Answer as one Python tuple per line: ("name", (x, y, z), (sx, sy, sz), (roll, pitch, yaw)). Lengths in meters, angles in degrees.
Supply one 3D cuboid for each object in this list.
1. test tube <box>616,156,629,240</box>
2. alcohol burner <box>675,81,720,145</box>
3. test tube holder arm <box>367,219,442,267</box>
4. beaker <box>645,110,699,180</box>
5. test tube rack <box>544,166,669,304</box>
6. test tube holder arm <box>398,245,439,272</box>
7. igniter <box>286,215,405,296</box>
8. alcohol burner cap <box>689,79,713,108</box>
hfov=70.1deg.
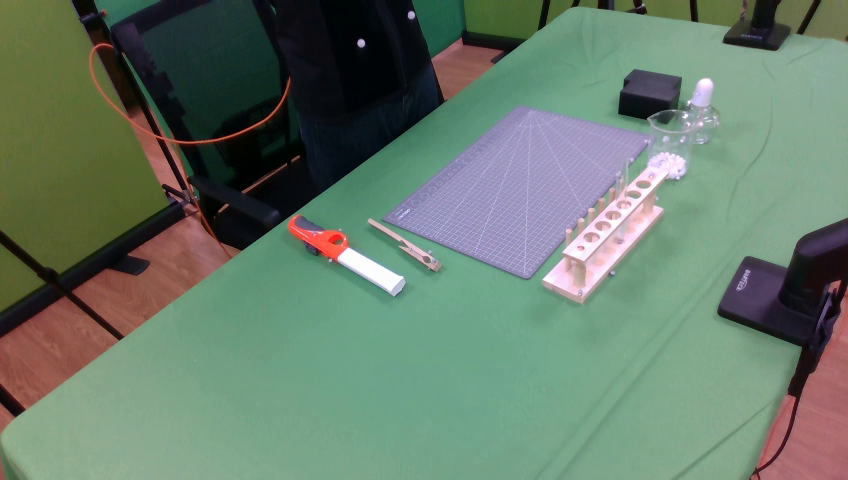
("test tube", (0.284, -0.057, 0.869), (0.017, 0.151, 0.017), (-8, 42, 8))
("alcohol burner", (0.497, -0.234, 1.094), (0.078, 0.119, 0.077), (-5, 43, 5))
("test tube holder arm", (-0.035, 0.003, 0.985), (0.177, 0.015, 0.013), (32, 87, 40))
("beaker", (0.417, -0.160, 1.032), (0.083, 0.101, 0.074), (25, 51, 34))
("test tube rack", (0.274, -0.018, 0.903), (0.066, 0.085, 0.243), (26, 51, 35))
("test tube holder arm", (-0.009, 0.026, 0.956), (0.087, 0.015, 0.010), (34, 89, 40))
("igniter", (-0.137, 0.019, 0.980), (0.274, 0.025, 0.057), (27, 62, 35))
("alcohol burner cap", (0.492, -0.262, 1.071), (0.034, 0.048, 0.033), (-1, 45, 2))
